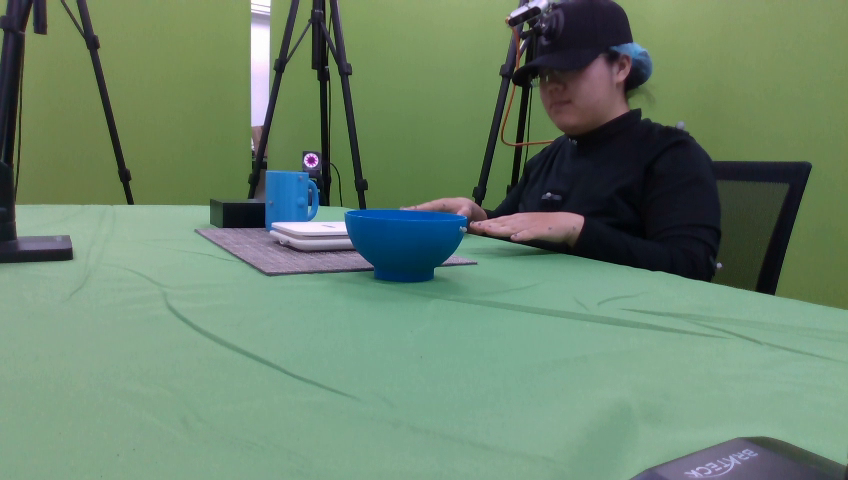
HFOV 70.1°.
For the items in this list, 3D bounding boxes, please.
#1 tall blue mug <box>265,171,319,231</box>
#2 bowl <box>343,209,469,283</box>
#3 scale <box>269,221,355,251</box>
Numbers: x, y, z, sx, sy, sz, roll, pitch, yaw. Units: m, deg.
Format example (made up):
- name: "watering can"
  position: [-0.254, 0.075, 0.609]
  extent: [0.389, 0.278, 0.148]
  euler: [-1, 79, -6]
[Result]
- name: "tall blue mug"
  position: [-0.248, -0.073, 1.121]
  extent: [0.078, 0.108, 0.107]
  euler: [3, 8, 8]
- name: "bowl"
  position: [-0.022, 0.007, 0.731]
  extent: [0.151, 0.077, 0.151]
  euler: [3, 7, 0]
- name: "scale"
  position: [-0.130, -0.008, 0.959]
  extent: [0.202, 0.031, 0.148]
  euler: [-1, 9, -32]
